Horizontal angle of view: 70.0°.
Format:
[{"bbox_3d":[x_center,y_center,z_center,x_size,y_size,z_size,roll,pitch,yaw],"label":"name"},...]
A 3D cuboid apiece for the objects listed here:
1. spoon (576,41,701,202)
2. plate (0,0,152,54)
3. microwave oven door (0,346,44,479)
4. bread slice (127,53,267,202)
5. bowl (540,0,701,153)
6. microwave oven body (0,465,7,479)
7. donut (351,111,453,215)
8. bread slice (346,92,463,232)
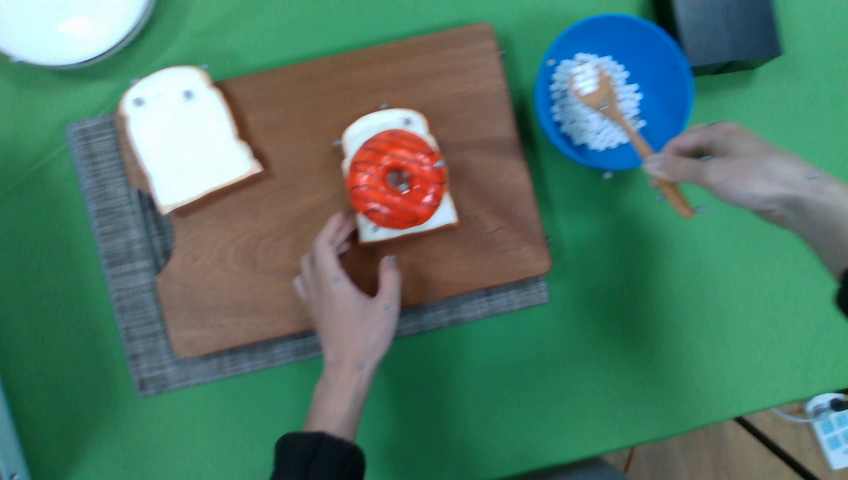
[{"bbox_3d":[0.186,-0.108,0.529,0.041,0.022,0.191,-18,56,-4],"label":"spoon"},{"bbox_3d":[-0.369,-0.292,0.620,0.208,0.039,0.207,0,92,0],"label":"plate"},{"bbox_3d":[-0.457,0.110,0.512,0.039,0.243,0.356,-16,91,0],"label":"microwave oven door"},{"bbox_3d":[-0.234,-0.117,0.606,0.107,0.018,0.134,-28,91,0],"label":"bread slice"},{"bbox_3d":[0.186,-0.157,0.608,0.151,0.077,0.151,0,92,0],"label":"bowl"},{"bbox_3d":[-0.610,0.109,0.516,0.326,0.260,0.441,-16,92,-1],"label":"microwave oven body"},{"bbox_3d":[-0.021,-0.073,0.581,0.099,0.048,0.099,0,93,-1],"label":"donut"},{"bbox_3d":[-0.026,-0.081,0.611,0.105,0.019,0.131,-14,93,-1],"label":"bread slice"}]
